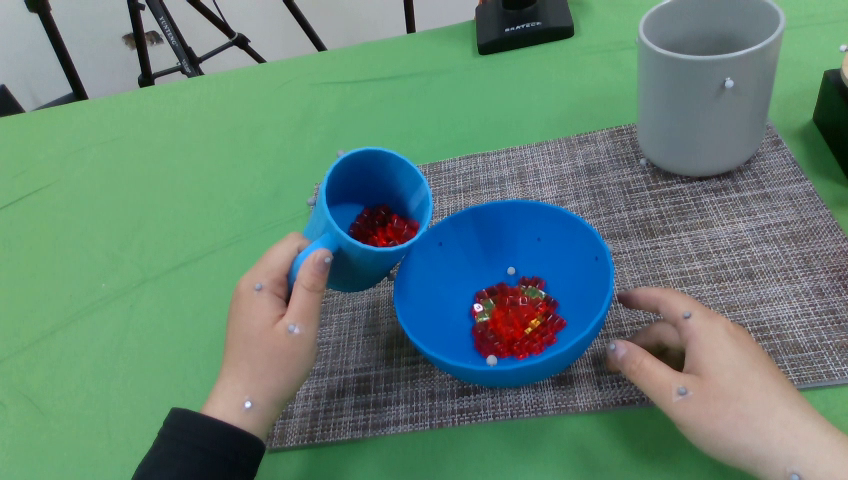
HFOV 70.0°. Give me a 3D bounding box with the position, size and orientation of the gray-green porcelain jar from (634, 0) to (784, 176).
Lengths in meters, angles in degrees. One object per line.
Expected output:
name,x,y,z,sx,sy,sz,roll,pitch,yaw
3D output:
gray-green porcelain jar,0.233,-0.126,0.512,0.106,0.128,0.105,-9,45,10

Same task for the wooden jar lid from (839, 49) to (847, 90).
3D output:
wooden jar lid,0.388,-0.129,0.475,0.108,0.021,0.107,-10,45,10

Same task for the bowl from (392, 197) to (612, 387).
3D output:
bowl,0.058,0.048,0.435,0.151,0.077,0.150,-9,45,10

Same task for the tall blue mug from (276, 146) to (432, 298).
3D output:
tall blue mug,-0.052,0.002,0.442,0.078,0.108,0.106,23,65,-10
